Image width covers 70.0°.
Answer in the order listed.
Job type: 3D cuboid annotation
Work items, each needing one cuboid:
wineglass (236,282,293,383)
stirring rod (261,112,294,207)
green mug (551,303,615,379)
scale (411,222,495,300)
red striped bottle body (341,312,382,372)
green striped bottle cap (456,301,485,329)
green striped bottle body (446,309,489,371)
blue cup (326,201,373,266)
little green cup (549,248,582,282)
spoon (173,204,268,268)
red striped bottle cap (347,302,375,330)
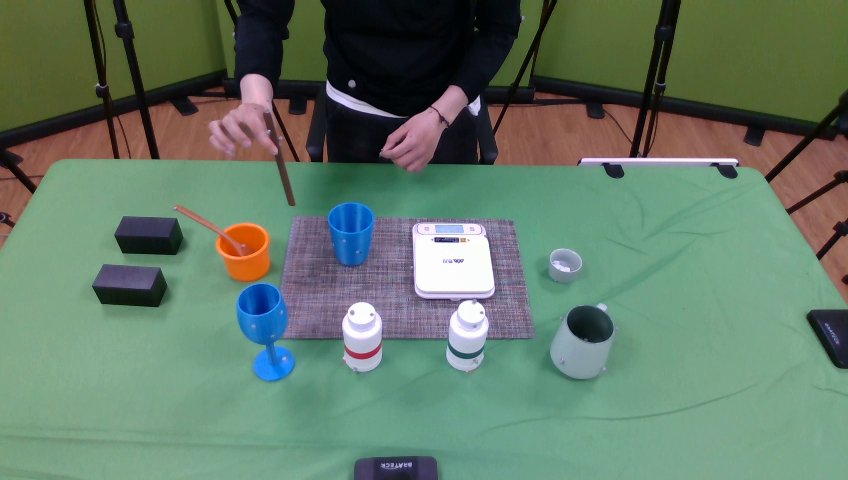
[{"bbox_3d":[-0.243,0.143,0.934,0.074,0.173,0.073,2,46,-2],"label":"wineglass"},{"bbox_3d":[-0.238,-0.129,0.992,0.014,0.177,0.006,4,38,15],"label":"stirring rod"},{"bbox_3d":[0.271,0.157,1.007,0.092,0.105,0.125,27,50,21],"label":"green mug"},{"bbox_3d":[0.052,0.031,1.158,0.149,0.032,0.199,1,46,-4],"label":"scale"},{"bbox_3d":[-0.100,0.154,0.972,0.063,0.120,0.062,1,46,-1],"label":"red striped bottle body"},{"bbox_3d":[0.073,0.116,0.943,0.044,0.020,0.044,3,46,-3],"label":"green striped bottle cap"},{"bbox_3d":[0.070,0.155,0.984,0.063,0.120,0.063,2,46,-2],"label":"green striped bottle body"},{"bbox_3d":[-0.138,-0.007,1.131,0.093,0.101,0.092,3,45,-3],"label":"blue cup"},{"bbox_3d":[0.268,0.050,1.156,0.061,0.039,0.061,1,46,-1],"label":"little green cup"},{"bbox_3d":[-0.363,-0.008,1.089,0.021,0.195,0.041,-32,32,26],"label":"spoon"},{"bbox_3d":[-0.097,0.116,0.934,0.044,0.018,0.044,2,48,-2],"label":"red striped bottle cap"}]
